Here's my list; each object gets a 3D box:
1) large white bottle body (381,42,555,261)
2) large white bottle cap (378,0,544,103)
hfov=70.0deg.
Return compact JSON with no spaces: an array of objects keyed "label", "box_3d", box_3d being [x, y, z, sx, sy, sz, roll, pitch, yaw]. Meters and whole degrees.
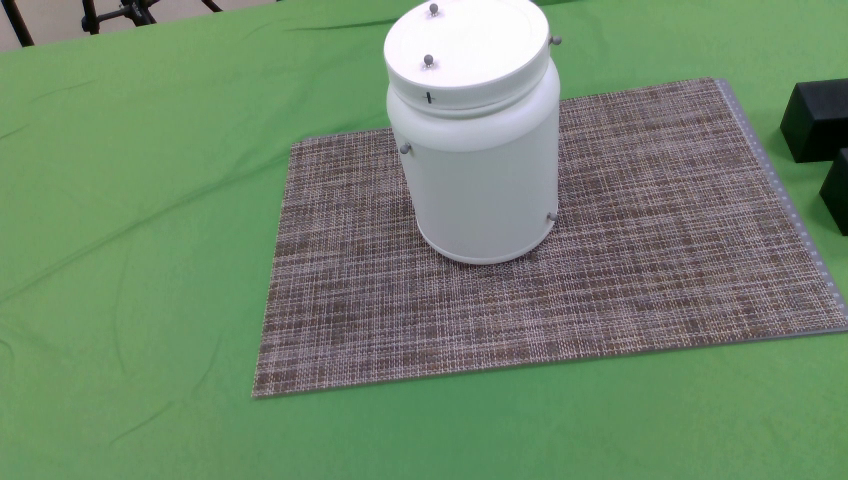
[{"label":"large white bottle body","box_3d":[0.039,-0.085,0.486,0.130,0.186,0.129,-5,51,7]},{"label":"large white bottle cap","box_3d":[0.025,-0.138,0.421,0.115,0.018,0.113,-5,51,7]}]
